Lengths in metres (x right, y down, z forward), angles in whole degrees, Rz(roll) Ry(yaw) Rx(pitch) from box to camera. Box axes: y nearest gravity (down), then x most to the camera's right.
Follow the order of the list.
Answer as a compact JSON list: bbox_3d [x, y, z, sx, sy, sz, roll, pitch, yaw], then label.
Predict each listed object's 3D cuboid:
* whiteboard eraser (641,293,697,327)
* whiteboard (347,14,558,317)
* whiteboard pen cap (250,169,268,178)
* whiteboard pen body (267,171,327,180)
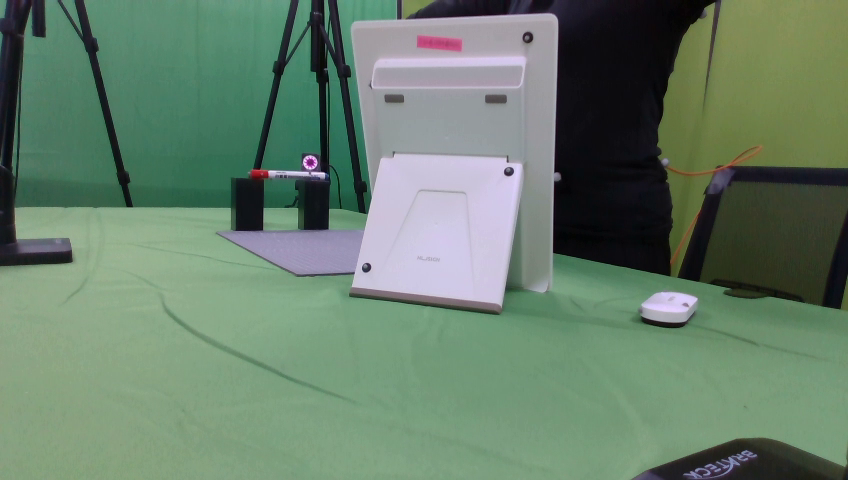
[{"bbox_3d":[0.240,0.066,0.591,0.041,0.019,0.102,6,7,31],"label":"whiteboard eraser"},{"bbox_3d":[0.012,-0.056,0.609,0.216,0.305,0.144,5,27,20],"label":"whiteboard"},{"bbox_3d":[-0.315,-0.127,1.155,0.032,0.017,0.017,1,7,-24],"label":"whiteboard pen cap"},{"bbox_3d":[-0.260,-0.126,1.181,0.141,0.017,0.017,-2,8,-26],"label":"whiteboard pen body"}]
